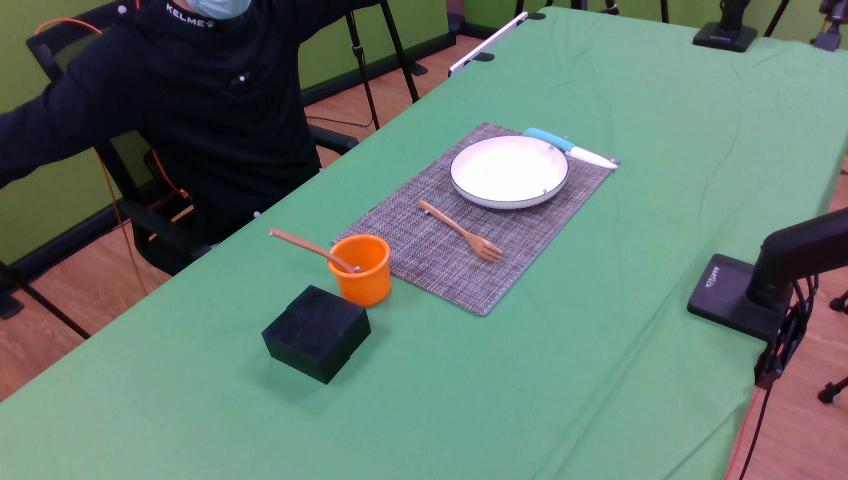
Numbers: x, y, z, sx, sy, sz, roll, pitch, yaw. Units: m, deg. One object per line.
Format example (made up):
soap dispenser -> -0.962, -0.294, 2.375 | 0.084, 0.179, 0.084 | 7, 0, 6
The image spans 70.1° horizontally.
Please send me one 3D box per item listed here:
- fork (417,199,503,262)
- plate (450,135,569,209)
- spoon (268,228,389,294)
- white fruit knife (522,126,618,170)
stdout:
fork -> 0.053, -0.021, 0.981 | 0.019, 0.028, 0.205 | 1, 26, -41
plate -> 0.149, -0.117, 1.066 | 0.209, 0.038, 0.208 | -4, 41, 4
spoon -> -0.132, 0.027, 0.859 | 0.021, 0.195, 0.041 | -39, 31, 33
white fruit knife -> 0.272, -0.172, 1.132 | 0.205, 0.016, 0.027 | 32, 82, 34
